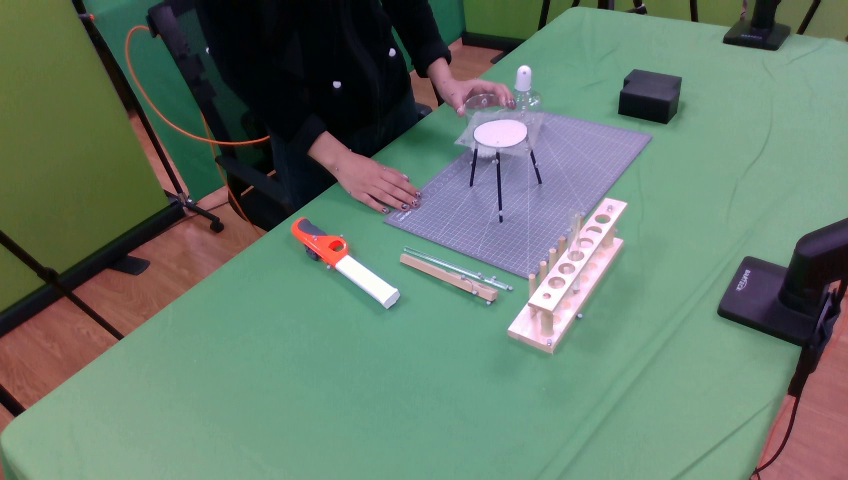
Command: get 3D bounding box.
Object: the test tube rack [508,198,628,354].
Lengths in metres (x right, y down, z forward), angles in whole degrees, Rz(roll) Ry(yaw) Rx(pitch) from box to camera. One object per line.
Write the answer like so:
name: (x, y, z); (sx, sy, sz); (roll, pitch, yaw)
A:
test tube rack: (0.206, 0.039, 0.850); (0.066, 0.085, 0.243); (20, 48, 31)

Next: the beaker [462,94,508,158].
beaker: (0.118, -0.210, 1.129); (0.083, 0.101, 0.074); (3, 48, 16)

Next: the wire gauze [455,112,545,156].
wire gauze: (0.123, -0.176, 0.972); (0.124, 0.011, 0.121); (9, 42, 21)

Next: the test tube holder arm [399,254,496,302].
test tube holder arm: (0.032, 0.054, 0.914); (0.177, 0.015, 0.013); (21, 16, 32)

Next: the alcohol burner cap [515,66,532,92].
alcohol burner cap: (0.198, -0.320, 1.192); (0.034, 0.048, 0.033); (0, 47, 1)

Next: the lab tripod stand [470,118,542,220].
lab tripod stand: (0.135, -0.129, 1.019); (0.148, 0.132, 0.147); (-5, 38, 5)

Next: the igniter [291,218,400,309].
igniter: (-0.136, 0.031, 0.970); (0.057, 0.025, 0.274); (-41, 49, -19)

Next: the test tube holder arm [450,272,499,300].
test tube holder arm: (0.071, 0.068, 0.895); (0.087, 0.015, 0.010); (21, 16, 32)

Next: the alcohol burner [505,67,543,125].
alcohol burner: (0.201, -0.293, 1.216); (0.078, 0.119, 0.077); (-4, 41, 4)

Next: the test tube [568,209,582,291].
test tube: (0.200, 0.018, 0.799); (0.017, 0.151, 0.017); (-8, 45, 8)

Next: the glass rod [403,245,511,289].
glass rod: (0.047, 0.040, 0.939); (0.198, 0.008, 0.008); (21, 49, 30)
